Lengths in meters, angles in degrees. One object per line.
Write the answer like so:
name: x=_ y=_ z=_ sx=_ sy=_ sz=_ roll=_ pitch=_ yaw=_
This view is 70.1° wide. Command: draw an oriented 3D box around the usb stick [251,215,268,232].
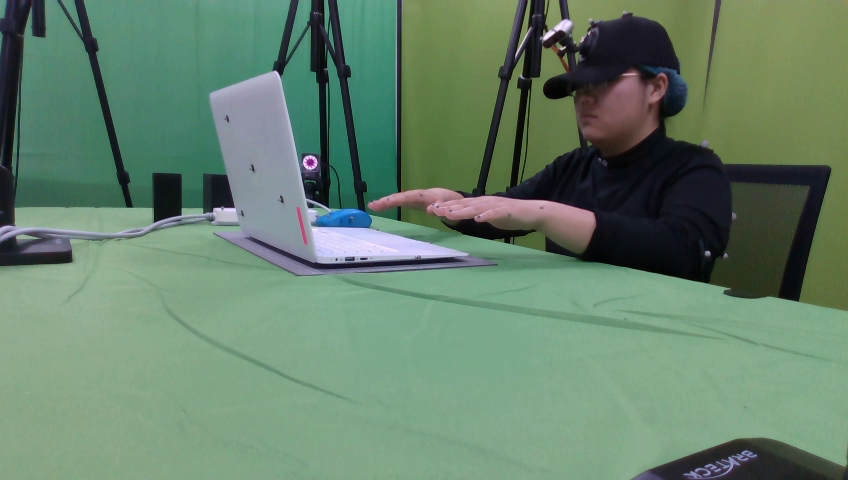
usb stick: x=-0.290 y=-0.028 z=1.070 sx=0.021 sy=0.027 sz=0.059 roll=-2 pitch=12 yaw=-29

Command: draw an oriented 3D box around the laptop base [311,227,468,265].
laptop base: x=-0.123 y=0.007 z=0.952 sx=0.237 sy=0.023 sz=0.352 roll=2 pitch=6 yaw=-32

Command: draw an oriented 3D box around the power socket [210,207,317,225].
power socket: x=-0.335 y=-0.051 z=1.281 sx=0.228 sy=0.032 sz=0.072 roll=-1 pitch=8 yaw=-28

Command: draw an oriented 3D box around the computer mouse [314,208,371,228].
computer mouse: x=-0.173 y=-0.046 z=1.284 sx=0.118 sy=0.041 sz=0.062 roll=-7 pitch=13 yaw=-29

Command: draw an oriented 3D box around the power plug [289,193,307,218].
power plug: x=-0.281 y=-0.076 z=1.340 sx=0.035 sy=0.052 sz=0.072 roll=3 pitch=5 yaw=-17

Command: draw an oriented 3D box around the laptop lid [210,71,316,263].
laptop lid: x=-0.240 y=-0.104 z=0.861 sx=0.013 sy=0.241 sz=0.355 roll=-16 pitch=17 yaw=-29
